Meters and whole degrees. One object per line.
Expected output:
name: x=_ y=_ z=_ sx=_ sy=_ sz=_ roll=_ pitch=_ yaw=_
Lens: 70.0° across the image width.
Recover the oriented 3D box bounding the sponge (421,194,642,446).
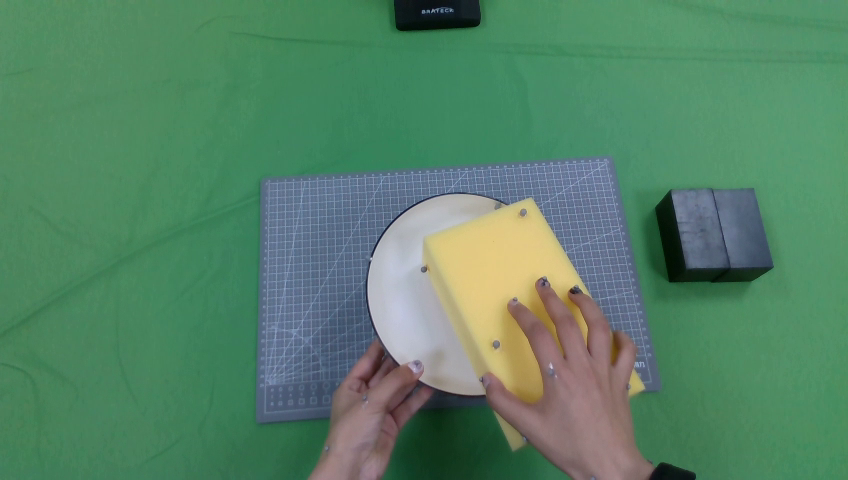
sponge: x=0.092 y=0.070 z=0.569 sx=0.118 sy=0.061 sz=0.205 roll=-22 pitch=67 yaw=-12

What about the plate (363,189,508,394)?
plate: x=0.041 y=0.051 z=0.616 sx=0.210 sy=0.038 sz=0.208 roll=3 pitch=75 yaw=-11
